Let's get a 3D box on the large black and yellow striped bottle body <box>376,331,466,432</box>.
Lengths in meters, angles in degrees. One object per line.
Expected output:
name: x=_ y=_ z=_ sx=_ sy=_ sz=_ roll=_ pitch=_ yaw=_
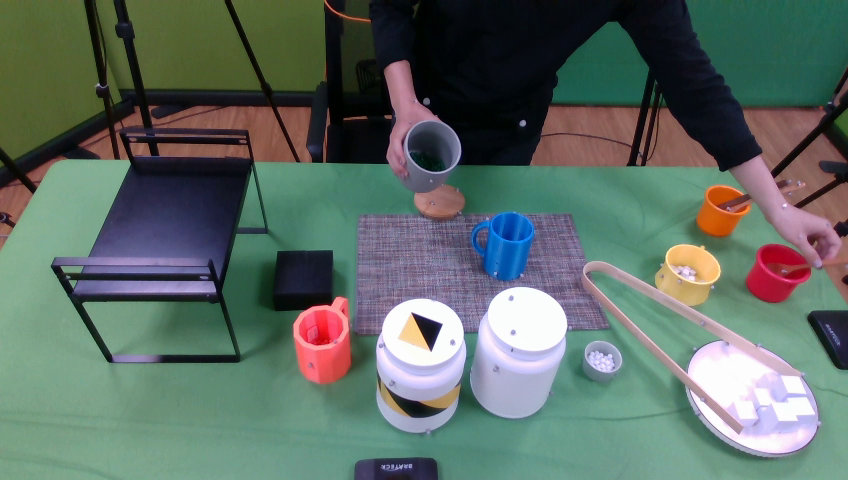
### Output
large black and yellow striped bottle body: x=-0.007 y=0.189 z=0.905 sx=0.131 sy=0.185 sz=0.130 roll=2 pitch=46 yaw=-2

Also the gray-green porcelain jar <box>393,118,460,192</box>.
gray-green porcelain jar: x=0.000 y=-0.153 z=1.135 sx=0.106 sy=0.126 sz=0.105 roll=4 pitch=75 yaw=-13

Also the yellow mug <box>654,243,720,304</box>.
yellow mug: x=0.504 y=0.054 z=1.154 sx=0.099 sy=0.064 sz=0.130 roll=28 pitch=50 yaw=22

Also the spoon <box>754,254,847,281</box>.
spoon: x=0.696 y=0.045 z=1.105 sx=0.022 sy=0.193 sz=0.041 roll=19 pitch=71 yaw=-20

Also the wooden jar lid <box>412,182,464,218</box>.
wooden jar lid: x=0.029 y=-0.082 z=1.276 sx=0.108 sy=0.021 sz=0.107 roll=3 pitch=43 yaw=-3

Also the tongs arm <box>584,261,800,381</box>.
tongs arm: x=0.452 y=0.137 z=1.064 sx=0.051 sy=0.027 sz=0.382 roll=-34 pitch=50 yaw=-27

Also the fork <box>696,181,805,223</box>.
fork: x=0.659 y=-0.077 z=1.232 sx=0.207 sy=0.019 sz=0.028 roll=-26 pitch=35 yaw=34

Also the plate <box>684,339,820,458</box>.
plate: x=0.523 y=0.256 z=0.982 sx=0.208 sy=0.039 sz=0.206 roll=2 pitch=46 yaw=-2

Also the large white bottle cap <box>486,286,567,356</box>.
large white bottle cap: x=0.147 y=0.114 z=0.869 sx=0.115 sy=0.018 sz=0.114 roll=3 pitch=47 yaw=-3

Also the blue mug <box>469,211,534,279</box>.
blue mug: x=0.141 y=0.005 z=1.140 sx=0.116 sy=0.106 sz=0.082 roll=18 pitch=48 yaw=13

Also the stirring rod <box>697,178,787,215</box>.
stirring rod: x=0.650 y=-0.088 z=1.245 sx=0.006 sy=0.176 sz=0.014 roll=29 pitch=50 yaw=-39

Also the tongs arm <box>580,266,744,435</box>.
tongs arm: x=0.384 y=0.173 z=1.028 sx=0.028 sy=0.028 sz=0.385 roll=-25 pitch=46 yaw=-15

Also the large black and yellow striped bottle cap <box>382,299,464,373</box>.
large black and yellow striped bottle cap: x=-0.002 y=0.131 z=0.843 sx=0.115 sy=0.019 sz=0.114 roll=2 pitch=46 yaw=-2

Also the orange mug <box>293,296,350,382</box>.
orange mug: x=-0.158 y=0.154 z=0.985 sx=0.083 sy=0.101 sz=0.125 roll=17 pitch=52 yaw=11

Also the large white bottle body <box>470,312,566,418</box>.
large white bottle body: x=0.143 y=0.173 z=0.930 sx=0.131 sy=0.185 sz=0.130 roll=2 pitch=46 yaw=-2

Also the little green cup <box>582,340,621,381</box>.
little green cup: x=0.295 y=0.204 z=1.015 sx=0.061 sy=0.039 sz=0.061 roll=2 pitch=45 yaw=-2
